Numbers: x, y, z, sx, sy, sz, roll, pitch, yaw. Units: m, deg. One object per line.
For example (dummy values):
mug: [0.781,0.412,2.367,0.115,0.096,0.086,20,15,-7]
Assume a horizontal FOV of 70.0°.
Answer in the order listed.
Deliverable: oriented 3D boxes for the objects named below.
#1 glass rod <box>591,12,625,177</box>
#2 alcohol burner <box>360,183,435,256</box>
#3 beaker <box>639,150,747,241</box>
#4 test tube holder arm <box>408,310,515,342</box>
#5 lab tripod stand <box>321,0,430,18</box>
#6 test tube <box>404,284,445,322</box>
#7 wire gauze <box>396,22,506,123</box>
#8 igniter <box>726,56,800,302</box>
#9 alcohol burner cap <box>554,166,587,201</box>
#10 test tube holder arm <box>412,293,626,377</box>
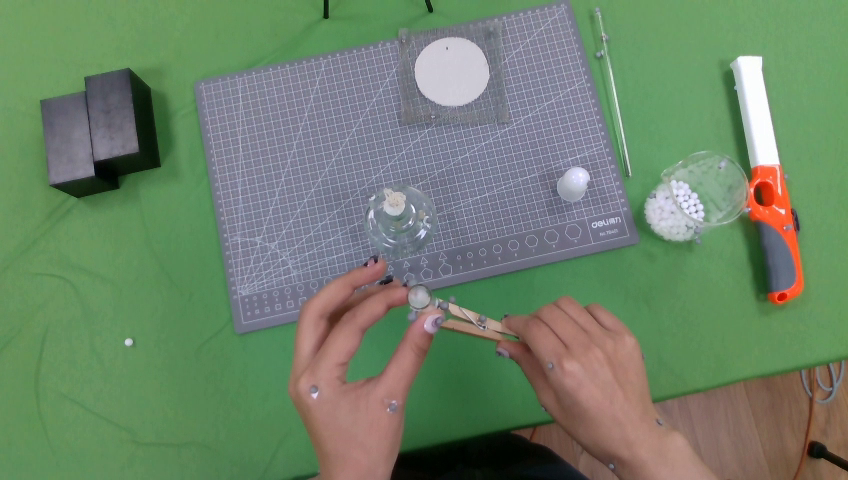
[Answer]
glass rod: [0.211,-0.168,0.693,0.008,0.008,0.199,-7,82,0]
alcohol burner: [-0.029,-0.025,0.617,0.078,0.119,0.077,-1,78,4]
beaker: [0.268,-0.042,0.624,0.084,0.100,0.074,19,80,6]
test tube holder arm: [0.031,0.070,0.491,0.088,0.015,0.010,11,83,4]
lab tripod stand: [-0.061,-0.314,0.664,0.148,0.132,0.148,0,81,1]
test tube: [0.003,0.046,0.422,0.017,0.151,0.017,-1,79,6]
wire gauze: [0.030,-0.193,0.700,0.125,0.011,0.121,-2,81,0]
igniter: [0.369,-0.070,0.663,0.057,0.025,0.275,-3,79,-9]
alcohol burner cap: [0.161,-0.064,0.656,0.034,0.048,0.033,0,79,2]
test tube holder arm: [0.075,0.076,0.488,0.178,0.015,0.013,18,84,4]
